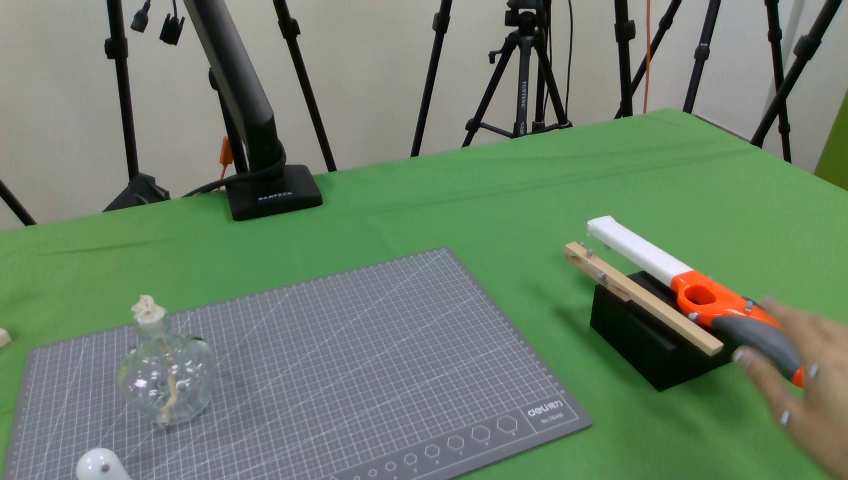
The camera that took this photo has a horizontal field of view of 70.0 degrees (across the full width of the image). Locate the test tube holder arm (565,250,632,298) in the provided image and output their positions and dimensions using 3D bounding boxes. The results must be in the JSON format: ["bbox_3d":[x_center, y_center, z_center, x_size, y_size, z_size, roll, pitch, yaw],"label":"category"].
[{"bbox_3d":[0.171,0.030,0.591,0.015,0.010,0.087,-23,36,-20],"label":"test tube holder arm"}]

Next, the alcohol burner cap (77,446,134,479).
[{"bbox_3d":[-0.235,0.172,0.445,0.034,0.048,0.033,0,33,0],"label":"alcohol burner cap"}]

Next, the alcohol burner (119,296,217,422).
[{"bbox_3d":[-0.214,0.093,0.500,0.078,0.120,0.077,0,34,0],"label":"alcohol burner"}]

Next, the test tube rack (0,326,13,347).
[{"bbox_3d":[-0.498,0.115,0.508,0.066,0.086,0.241,15,36,23],"label":"test tube rack"}]

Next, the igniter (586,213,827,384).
[{"bbox_3d":[0.245,0.041,0.561,0.057,0.025,0.273,-15,32,-19],"label":"igniter"}]

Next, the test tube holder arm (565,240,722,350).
[{"bbox_3d":[0.192,0.045,0.554,0.015,0.013,0.176,-23,36,-20],"label":"test tube holder arm"}]
